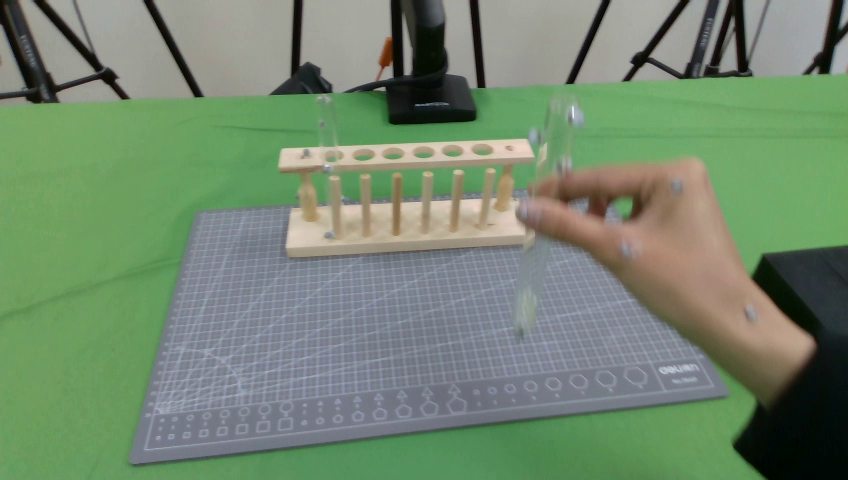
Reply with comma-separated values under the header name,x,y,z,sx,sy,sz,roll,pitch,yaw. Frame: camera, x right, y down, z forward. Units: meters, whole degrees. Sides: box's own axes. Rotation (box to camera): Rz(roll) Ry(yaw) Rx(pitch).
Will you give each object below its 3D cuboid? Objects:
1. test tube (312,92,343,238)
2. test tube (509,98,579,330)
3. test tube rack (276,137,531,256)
name,x,y,z,sx,sy,sz,roll,pitch,yaw
test tube,-0.087,-0.064,0.551,0.017,0.152,0.017,0,39,0
test tube,0.064,-0.006,0.337,0.017,0.151,0.017,2,37,-1
test tube rack,-0.017,-0.044,0.599,0.243,0.086,0.066,-3,40,-5
